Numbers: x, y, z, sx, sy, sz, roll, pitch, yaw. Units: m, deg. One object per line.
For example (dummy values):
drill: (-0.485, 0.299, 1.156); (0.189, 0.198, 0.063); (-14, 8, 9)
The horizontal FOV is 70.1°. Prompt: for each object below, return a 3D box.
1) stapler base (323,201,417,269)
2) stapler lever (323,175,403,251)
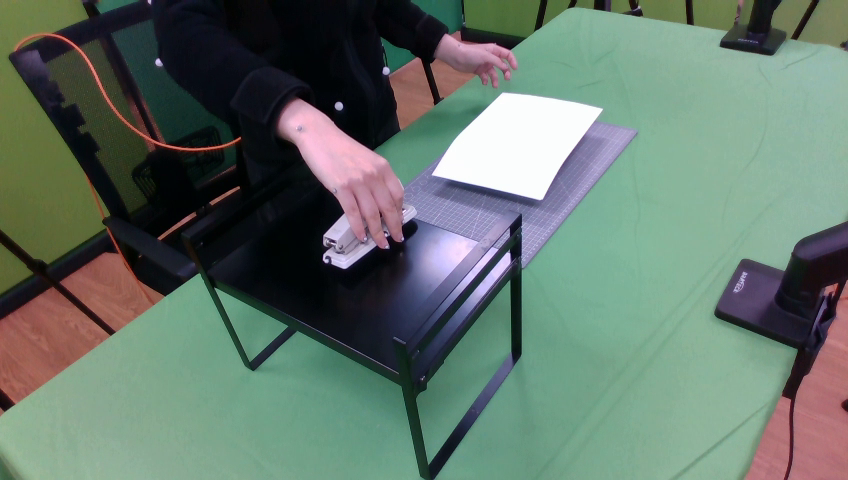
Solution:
stapler base: (-0.062, -0.015, 0.706); (0.041, 0.024, 0.131); (15, 44, 40)
stapler lever: (-0.068, -0.034, 0.691); (0.026, 0.040, 0.118); (15, 44, 40)
